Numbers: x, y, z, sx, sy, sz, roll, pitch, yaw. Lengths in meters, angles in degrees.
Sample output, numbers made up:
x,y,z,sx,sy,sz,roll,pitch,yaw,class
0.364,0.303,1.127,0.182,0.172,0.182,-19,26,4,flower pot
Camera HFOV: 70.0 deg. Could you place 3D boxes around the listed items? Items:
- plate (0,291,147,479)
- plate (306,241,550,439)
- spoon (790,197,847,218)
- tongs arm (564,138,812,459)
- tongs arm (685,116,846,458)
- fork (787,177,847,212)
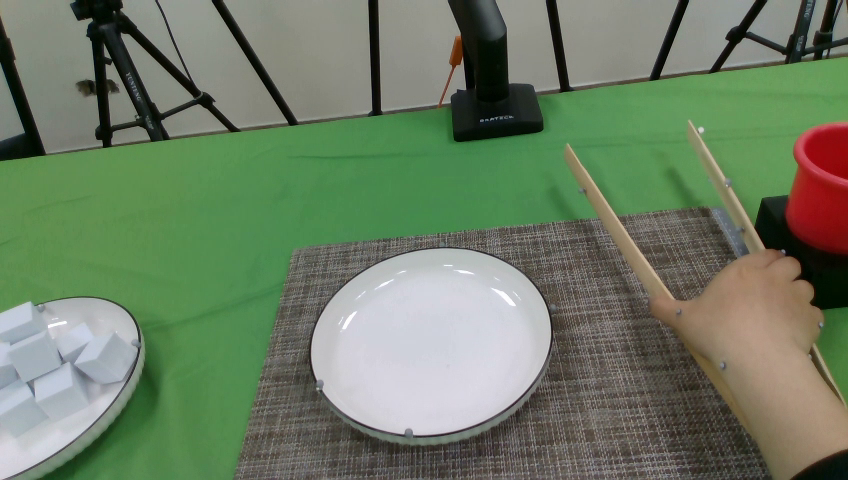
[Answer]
x,y,z,sx,sy,sz,roll,pitch,yaw,class
-0.352,0.132,0.546,0.209,0.038,0.207,-5,40,5,plate
0.004,0.083,0.526,0.207,0.039,0.205,-5,41,5,plate
0.364,-0.049,0.446,0.041,0.194,0.021,-29,86,-27,spoon
0.205,0.020,0.546,0.028,0.028,0.383,-11,44,-7,tongs arm
0.278,0.007,0.544,0.051,0.027,0.380,-6,45,3,tongs arm
0.391,-0.079,0.476,0.207,0.019,0.028,-39,8,29,fork
